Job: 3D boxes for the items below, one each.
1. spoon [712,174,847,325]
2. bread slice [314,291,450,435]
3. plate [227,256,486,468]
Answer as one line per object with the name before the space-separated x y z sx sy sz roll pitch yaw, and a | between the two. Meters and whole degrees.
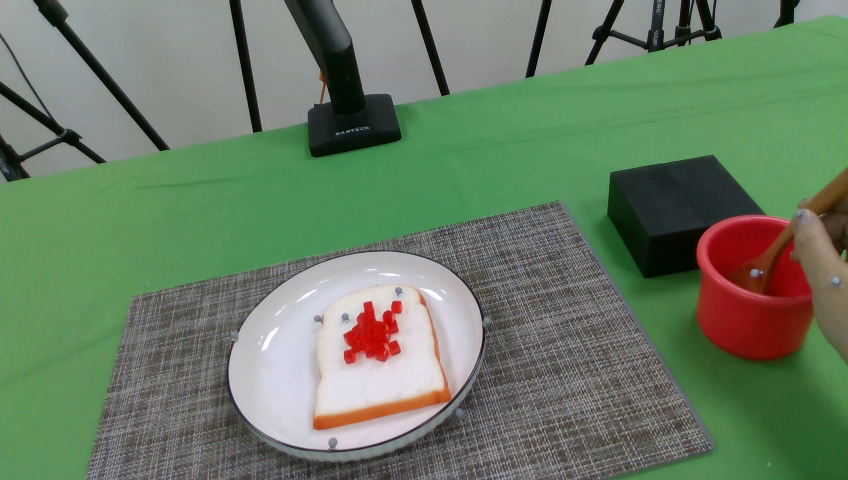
spoon | 0.255 0.003 0.418 0.021 0.195 0.041 5 54 -2
bread slice | -0.041 0.093 0.500 0.105 0.019 0.130 -11 40 -2
plate | -0.053 0.095 0.497 0.209 0.038 0.207 -6 40 5
